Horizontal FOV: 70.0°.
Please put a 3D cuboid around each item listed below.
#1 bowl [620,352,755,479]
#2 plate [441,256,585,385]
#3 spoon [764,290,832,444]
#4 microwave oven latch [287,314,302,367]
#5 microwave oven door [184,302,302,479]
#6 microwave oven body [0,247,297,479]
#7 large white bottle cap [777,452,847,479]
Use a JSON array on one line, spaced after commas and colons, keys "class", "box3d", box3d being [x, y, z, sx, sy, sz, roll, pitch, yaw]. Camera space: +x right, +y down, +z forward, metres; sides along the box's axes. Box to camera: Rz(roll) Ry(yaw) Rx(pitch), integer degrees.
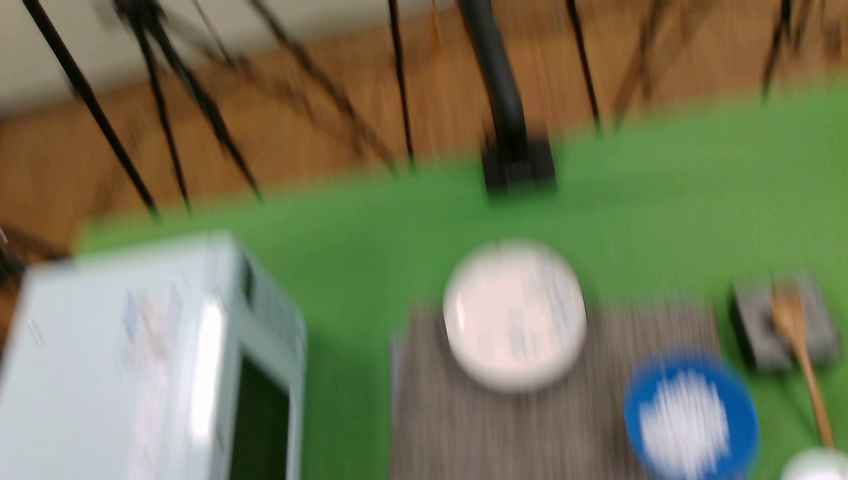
[{"class": "bowl", "box3d": [0.320, 0.226, 0.752, 0.151, 0.077, 0.150, -7, 56, 11]}, {"class": "plate", "box3d": [0.131, 0.119, 0.896, 0.209, 0.038, 0.207, -7, 55, 10]}, {"class": "spoon", "box3d": [0.470, 0.157, 0.755, 0.041, 0.022, 0.192, -14, 78, 3]}, {"class": "microwave oven latch", "box3d": [-0.205, 0.157, 0.941, 0.030, 0.030, 0.078, -10, 57, 8]}, {"class": "microwave oven door", "box3d": [-0.215, 0.283, 0.738, 0.039, 0.246, 0.352, -11, 56, 8]}, {"class": "microwave oven body", "box3d": [-0.359, 0.278, 0.785, 0.326, 0.263, 0.437, -10, 57, 8]}, {"class": "large white bottle cap", "box3d": [0.473, 0.305, 0.703, 0.114, 0.018, 0.114, -6, 57, 9]}]
